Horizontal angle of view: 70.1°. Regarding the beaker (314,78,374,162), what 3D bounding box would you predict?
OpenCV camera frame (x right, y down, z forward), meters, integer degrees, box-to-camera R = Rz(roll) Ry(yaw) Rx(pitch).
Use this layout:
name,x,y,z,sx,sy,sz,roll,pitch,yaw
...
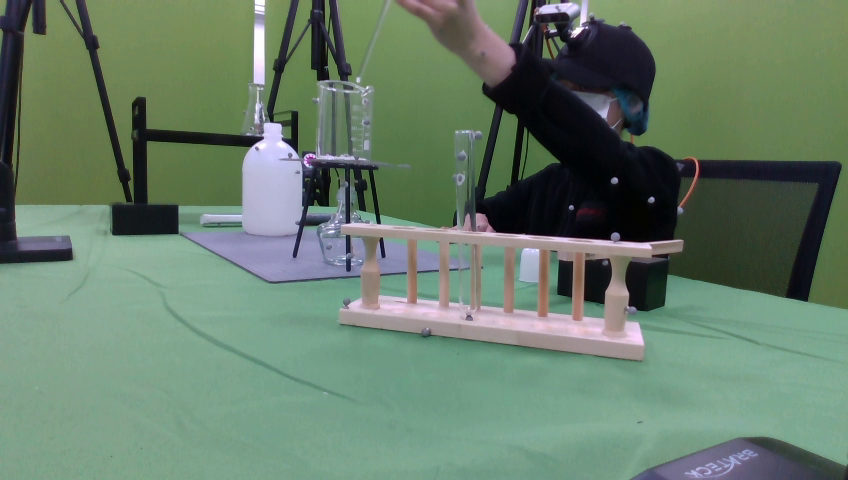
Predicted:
name,x,y,z,sx,sy,sz,roll,pitch,yaw
beaker,-0.101,-0.150,0.773,0.074,0.100,0.083,-2,8,-40

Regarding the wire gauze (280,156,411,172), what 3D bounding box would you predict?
name,x,y,z,sx,sy,sz,roll,pitch,yaw
wire gauze,-0.102,-0.103,0.785,0.121,0.011,0.126,11,8,42

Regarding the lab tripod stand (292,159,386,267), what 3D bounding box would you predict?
name,x,y,z,sx,sy,sz,roll,pitch,yaw
lab tripod stand,-0.105,-0.039,0.797,0.148,0.131,0.148,2,5,0

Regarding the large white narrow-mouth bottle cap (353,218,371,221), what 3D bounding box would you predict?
name,x,y,z,sx,sy,sz,roll,pitch,yaw
large white narrow-mouth bottle cap,-0.121,-0.029,1.184,0.038,0.024,0.037,2,8,0

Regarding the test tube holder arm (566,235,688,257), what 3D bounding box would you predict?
name,x,y,z,sx,sy,sz,roll,pitch,yaw
test tube holder arm,0.215,0.006,0.629,0.179,0.015,0.013,-3,10,-30

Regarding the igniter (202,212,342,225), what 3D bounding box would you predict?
name,x,y,z,sx,sy,sz,roll,pitch,yaw
igniter,-0.298,-0.043,1.216,0.278,0.025,0.057,-3,-2,-32

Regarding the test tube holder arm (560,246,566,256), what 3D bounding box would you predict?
name,x,y,z,sx,sy,sz,roll,pitch,yaw
test tube holder arm,0.173,0.007,0.611,0.088,0.015,0.010,-3,10,-29

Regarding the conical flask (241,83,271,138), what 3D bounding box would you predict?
name,x,y,z,sx,sy,sz,roll,pitch,yaw
conical flask,-0.384,-0.297,1.393,0.075,0.122,0.075,2,7,0

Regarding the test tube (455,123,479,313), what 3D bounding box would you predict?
name,x,y,z,sx,sy,sz,roll,pitch,yaw
test tube,0.034,-0.016,0.476,0.017,0.150,0.017,-2,10,1

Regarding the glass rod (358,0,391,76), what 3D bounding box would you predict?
name,x,y,z,sx,sy,sz,roll,pitch,yaw
glass rod,-0.040,-0.281,0.695,0.008,0.199,0.008,21,26,-10

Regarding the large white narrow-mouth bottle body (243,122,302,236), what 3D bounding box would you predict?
name,x,y,z,sx,sy,sz,roll,pitch,yaw
large white narrow-mouth bottle body,-0.264,-0.109,1.061,0.102,0.194,0.102,2,8,0

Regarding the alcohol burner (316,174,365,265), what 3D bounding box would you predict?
name,x,y,z,sx,sy,sz,roll,pitch,yaw
alcohol burner,-0.102,-0.028,0.790,0.078,0.119,0.078,0,6,0

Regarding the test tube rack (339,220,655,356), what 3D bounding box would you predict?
name,x,y,z,sx,sy,sz,roll,pitch,yaw
test tube rack,0.056,0.032,0.495,0.242,0.085,0.067,4,7,15

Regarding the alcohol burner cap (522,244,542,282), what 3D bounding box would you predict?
name,x,y,z,sx,sy,sz,roll,pitch,yaw
alcohol burner cap,0.136,0.026,0.740,0.034,0.048,0.034,1,6,0
